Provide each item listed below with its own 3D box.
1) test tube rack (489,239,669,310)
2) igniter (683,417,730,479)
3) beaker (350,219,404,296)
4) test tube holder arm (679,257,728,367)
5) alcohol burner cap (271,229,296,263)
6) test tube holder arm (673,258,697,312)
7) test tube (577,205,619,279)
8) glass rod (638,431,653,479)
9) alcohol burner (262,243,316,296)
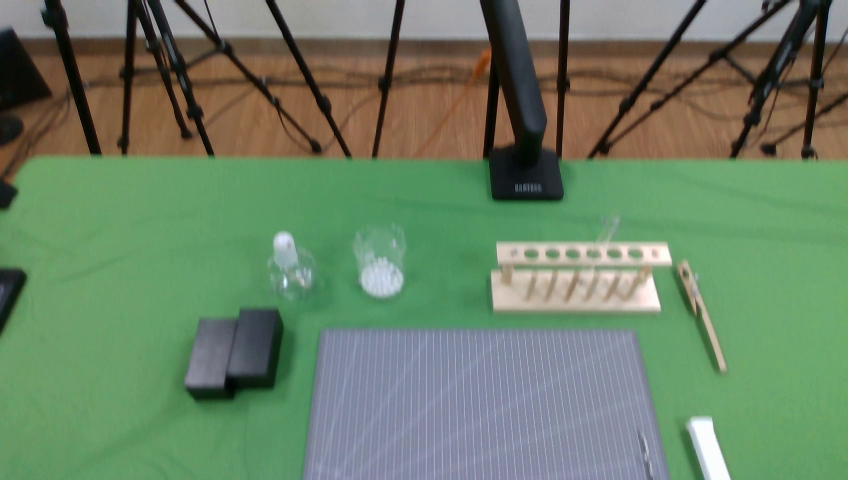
[{"bbox_3d":[0.220,0.051,0.874,0.242,0.086,0.066,0,54,-1],"label":"test tube rack"},{"bbox_3d":[0.360,0.341,0.703,0.057,0.025,0.273,3,53,-11],"label":"igniter"},{"bbox_3d":[-0.063,0.027,0.877,0.073,0.101,0.084,34,60,21],"label":"beaker"},{"bbox_3d":[0.404,0.101,0.880,0.013,0.015,0.176,-27,51,24],"label":"test tube holder arm"},{"bbox_3d":[-0.195,0.006,0.836,0.034,0.048,0.033,4,48,-4],"label":"alcohol burner cap"},{"bbox_3d":[0.394,0.067,0.908,0.010,0.015,0.087,-26,51,24],"label":"test tube holder arm"},{"bbox_3d":[0.240,0.007,0.845,0.017,0.151,0.017,3,50,-4],"label":"test tube"},{"bbox_3d":[0.278,0.326,0.720,0.008,0.008,0.197,0,54,-1],"label":"glass rod"},{"bbox_3d":[-0.196,0.028,0.864,0.078,0.120,0.077,0,52,1],"label":"alcohol burner"}]
